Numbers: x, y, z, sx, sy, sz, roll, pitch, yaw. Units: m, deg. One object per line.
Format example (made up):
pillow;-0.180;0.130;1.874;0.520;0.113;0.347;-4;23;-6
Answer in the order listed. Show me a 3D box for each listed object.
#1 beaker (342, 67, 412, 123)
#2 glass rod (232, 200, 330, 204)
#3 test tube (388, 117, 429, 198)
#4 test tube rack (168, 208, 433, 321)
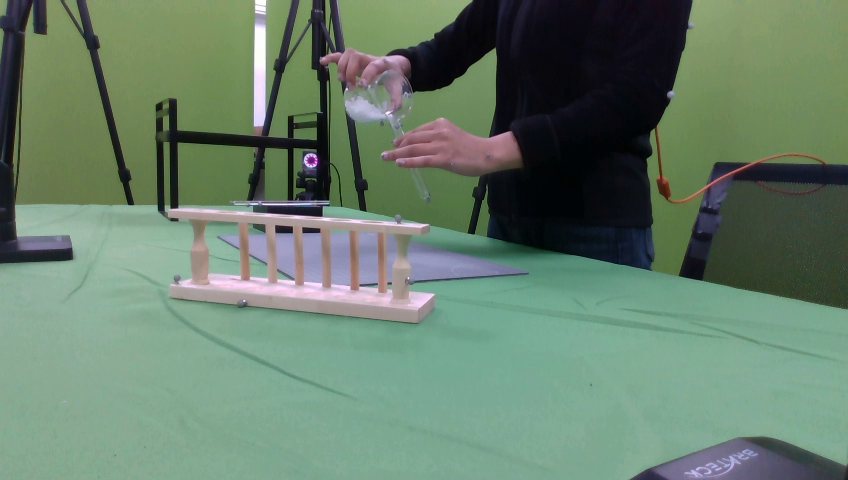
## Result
beaker;-0.079;-0.226;0.971;0.074;0.084;0.100;-5;6;-39
glass rod;-0.266;-0.072;1.146;0.201;0.008;0.008;-4;10;-40
test tube;-0.024;-0.125;0.908;0.017;0.149;0.017;-19;-26;-9
test tube rack;-0.115;0.017;0.574;0.242;0.085;0.067;4;8;13
